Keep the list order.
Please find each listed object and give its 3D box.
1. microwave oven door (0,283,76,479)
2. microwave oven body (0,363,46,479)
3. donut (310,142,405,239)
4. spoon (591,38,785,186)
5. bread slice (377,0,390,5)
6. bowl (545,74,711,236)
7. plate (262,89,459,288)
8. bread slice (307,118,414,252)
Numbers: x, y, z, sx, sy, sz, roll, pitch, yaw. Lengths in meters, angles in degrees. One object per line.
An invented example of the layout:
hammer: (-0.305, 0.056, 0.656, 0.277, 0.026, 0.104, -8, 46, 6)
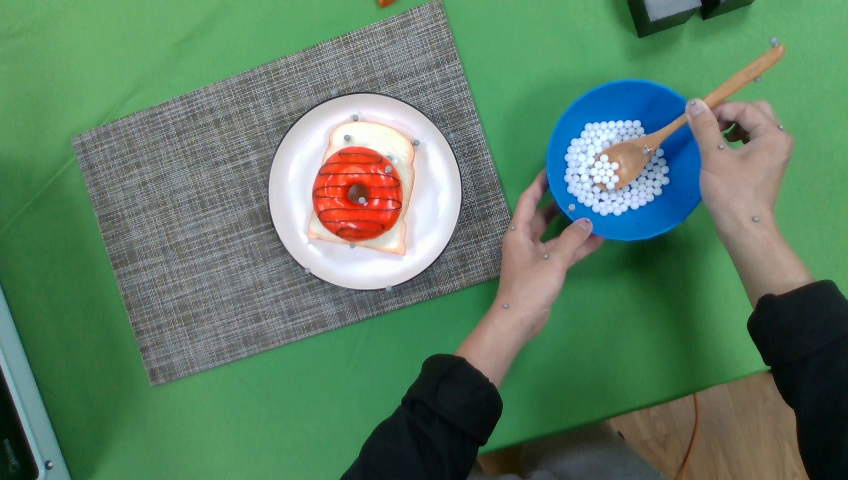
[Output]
microwave oven door: (-0.487, 0.135, 0.583, 0.039, 0.244, 0.355, -21, 90, 7)
microwave oven body: (-0.638, 0.146, 0.605, 0.326, 0.260, 0.441, -20, 91, 6)
donut: (-0.068, -0.050, 0.617, 0.099, 0.048, 0.099, 0, 93, 7)
spoon: (0.233, -0.111, 0.550, 0.194, 0.021, 0.041, -39, 82, 39)
bread slice: (-0.038, -0.333, 0.643, 0.105, 0.019, 0.131, -33, 90, 6)
bowl: (0.193, -0.079, 0.598, 0.151, 0.077, 0.151, 0, 92, 7)
plate: (-0.065, -0.053, 0.645, 0.207, 0.039, 0.207, 0, 93, 6)
bread slice: (-0.065, -0.060, 0.645, 0.107, 0.018, 0.134, 7, 93, 6)
